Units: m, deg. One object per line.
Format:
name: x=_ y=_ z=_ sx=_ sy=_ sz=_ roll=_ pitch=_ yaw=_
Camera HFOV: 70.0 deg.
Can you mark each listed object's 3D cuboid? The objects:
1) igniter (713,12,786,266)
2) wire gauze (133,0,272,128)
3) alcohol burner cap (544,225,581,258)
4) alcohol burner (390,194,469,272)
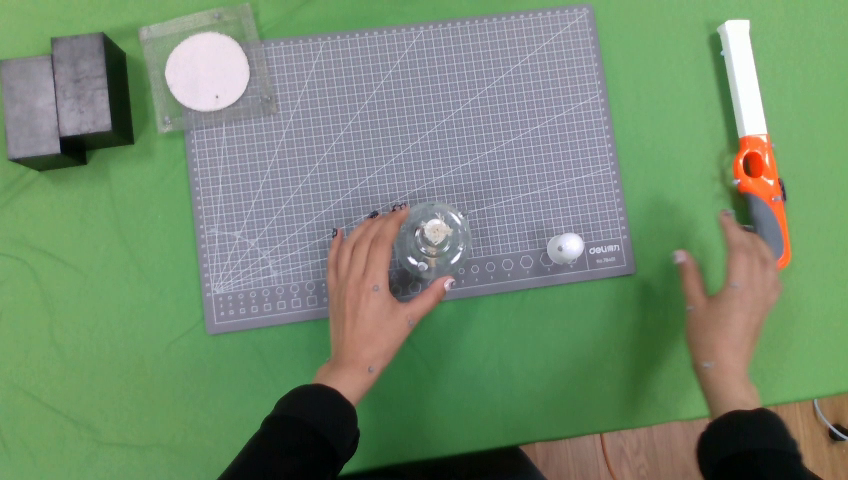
igniter: x=0.350 y=-0.110 z=0.652 sx=0.057 sy=0.025 sz=0.276 roll=-7 pitch=86 yaw=-14
wire gauze: x=-0.233 y=-0.185 z=0.634 sx=0.125 sy=0.011 sz=0.121 roll=-13 pitch=85 yaw=-3
alcohol burner cap: x=0.145 y=0.000 z=0.623 sx=0.034 sy=0.048 sz=0.034 roll=0 pitch=84 yaw=-2
alcohol burner: x=0.006 y=-0.009 z=0.581 sx=0.078 sy=0.119 sz=0.077 roll=0 pitch=83 yaw=-3
